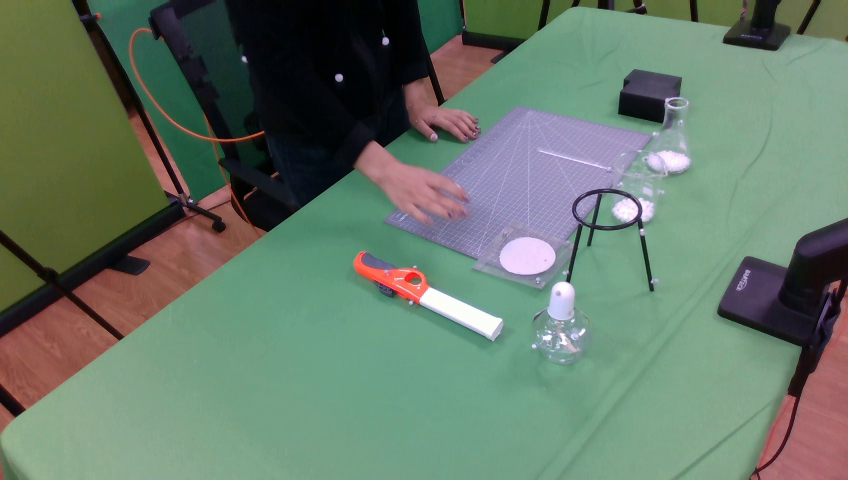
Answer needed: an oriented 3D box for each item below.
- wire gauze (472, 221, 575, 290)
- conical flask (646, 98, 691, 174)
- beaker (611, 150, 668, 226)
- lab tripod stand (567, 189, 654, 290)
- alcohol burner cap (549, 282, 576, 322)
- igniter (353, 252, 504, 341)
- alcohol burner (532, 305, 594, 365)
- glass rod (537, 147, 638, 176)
[{"bbox_3d":[0.158,0.024,0.933,0.120,0.011,0.125,21,49,31],"label":"wire gauze"},{"bbox_3d":[0.426,-0.180,1.037,0.075,0.122,0.075,-5,40,5],"label":"conical flask"},{"bbox_3d":[0.337,-0.079,0.953,0.083,0.101,0.074,25,51,33],"label":"beaker"},{"bbox_3d":[0.251,0.003,0.845,0.148,0.132,0.147,-7,39,6],"label":"lab tripod stand"},{"bbox_3d":[0.171,0.073,0.737,0.034,0.048,0.033,-2,38,2],"label":"alcohol burner cap"},{"bbox_3d":[-0.005,0.077,0.889,0.274,0.025,0.057,23,59,33],"label":"igniter"},{"bbox_3d":[0.174,0.100,0.761,0.078,0.119,0.077,-6,38,5],"label":"alcohol burner"},{"bbox_3d":[0.294,-0.145,1.104,0.198,0.008,0.008,22,50,31],"label":"glass rod"}]
